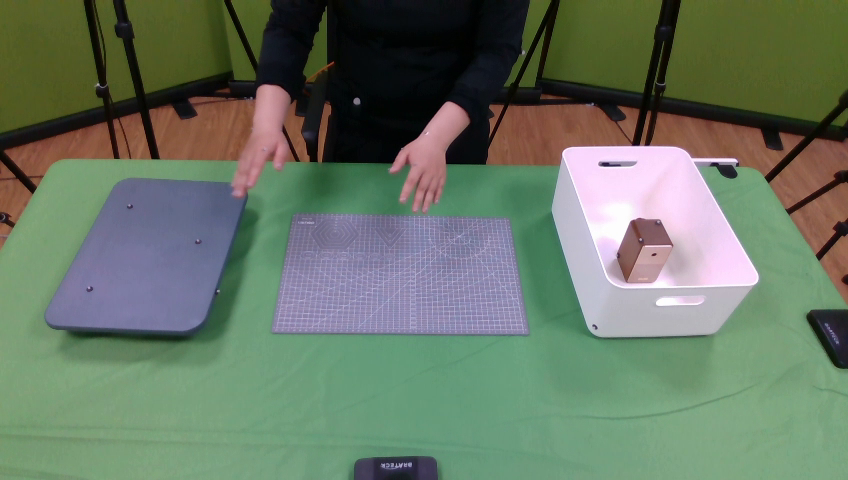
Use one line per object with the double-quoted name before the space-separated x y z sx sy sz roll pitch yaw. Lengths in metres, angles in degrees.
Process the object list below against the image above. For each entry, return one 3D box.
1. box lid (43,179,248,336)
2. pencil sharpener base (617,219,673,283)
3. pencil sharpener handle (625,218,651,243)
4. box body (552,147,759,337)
"box lid" -0.484 0.017 1.093 0.263 0.015 0.369 2 46 -2
"pencil sharpener base" 0.412 0.020 1.140 0.061 0.107 0.076 -1 45 -4
"pencil sharpener handle" 0.407 -0.025 1.167 0.036 0.068 0.030 5 44 -10
"box body" 0.400 -0.001 1.131 0.254 0.161 0.361 -1 46 -5
